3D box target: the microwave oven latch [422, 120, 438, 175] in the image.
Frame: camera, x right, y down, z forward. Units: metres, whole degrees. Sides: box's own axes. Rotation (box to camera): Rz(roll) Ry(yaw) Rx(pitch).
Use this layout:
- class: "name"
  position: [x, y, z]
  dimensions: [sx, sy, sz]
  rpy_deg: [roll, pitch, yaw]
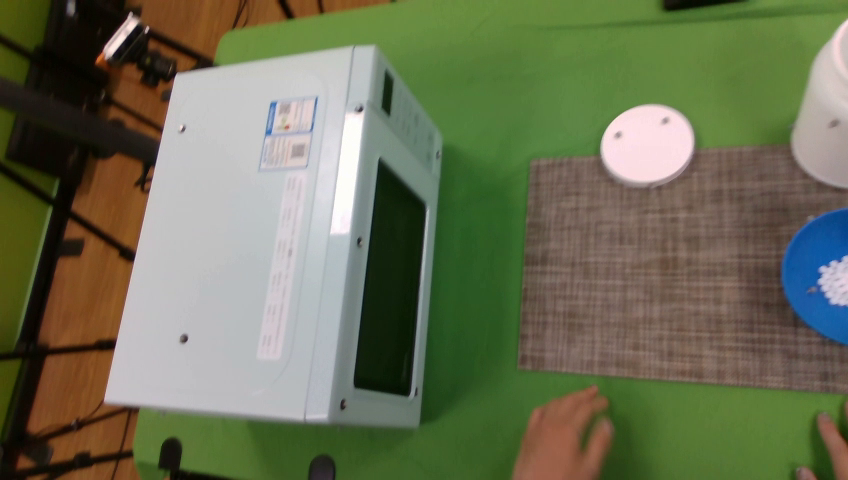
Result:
- class: "microwave oven latch"
  position: [0.004, -0.136, 0.892]
  dimensions: [0.030, 0.030, 0.078]
  rpy_deg: [-1, 74, 21]

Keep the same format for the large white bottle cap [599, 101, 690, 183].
- class: "large white bottle cap"
  position: [0.291, -0.131, 0.804]
  dimensions: [0.114, 0.018, 0.114]
  rpy_deg: [-7, 71, 19]

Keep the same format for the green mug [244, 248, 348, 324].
- class: "green mug"
  position: [-0.164, 0.058, 0.814]
  dimensions: [0.125, 0.106, 0.092]
  rpy_deg: [-13, 70, 13]

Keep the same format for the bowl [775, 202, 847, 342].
- class: "bowl"
  position: [0.457, 0.042, 0.649]
  dimensions: [0.151, 0.077, 0.150]
  rpy_deg: [-7, 71, 20]

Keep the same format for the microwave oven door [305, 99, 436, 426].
- class: "microwave oven door"
  position: [-0.053, 0.043, 0.744]
  dimensions: [0.039, 0.246, 0.354]
  rpy_deg: [-2, 73, 22]

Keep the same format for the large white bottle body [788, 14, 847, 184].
- class: "large white bottle body"
  position: [0.475, -0.155, 0.644]
  dimensions: [0.130, 0.186, 0.129]
  rpy_deg: [-8, 67, 19]

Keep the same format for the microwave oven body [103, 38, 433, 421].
- class: "microwave oven body"
  position: [-0.184, 0.008, 0.812]
  dimensions: [0.325, 0.262, 0.439]
  rpy_deg: [-1, 74, 21]
